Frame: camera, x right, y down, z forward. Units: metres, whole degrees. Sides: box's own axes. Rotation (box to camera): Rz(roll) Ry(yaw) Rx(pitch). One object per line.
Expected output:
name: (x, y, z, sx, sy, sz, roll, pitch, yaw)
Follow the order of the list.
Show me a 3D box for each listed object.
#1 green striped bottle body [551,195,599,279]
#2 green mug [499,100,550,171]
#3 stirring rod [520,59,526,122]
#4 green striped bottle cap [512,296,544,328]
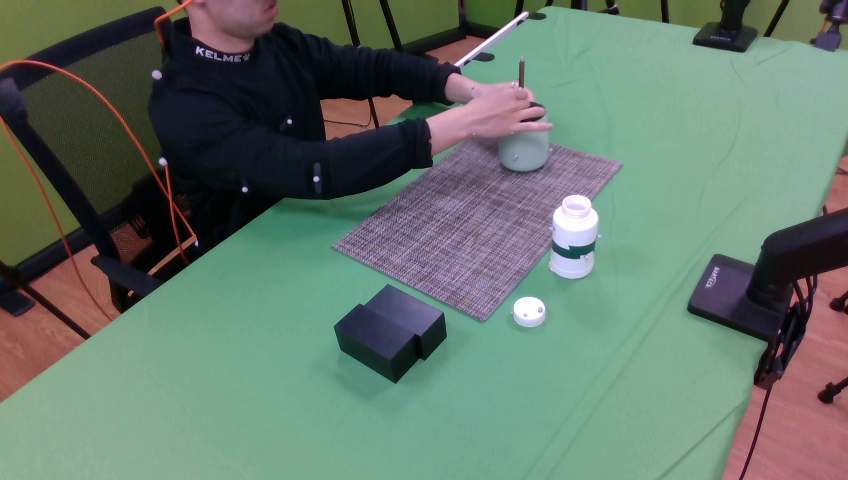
green striped bottle body: (0.217, -0.007, 0.870, 0.063, 0.120, 0.063, -4, 41, 4)
green mug: (0.183, -0.198, 1.101, 0.092, 0.105, 0.125, 1, 42, 9)
stirring rod: (0.176, -0.236, 1.080, 0.006, 0.177, 0.014, 13, 41, 24)
green striped bottle cap: (0.144, 0.099, 0.837, 0.044, 0.020, 0.044, -1, 43, 2)
